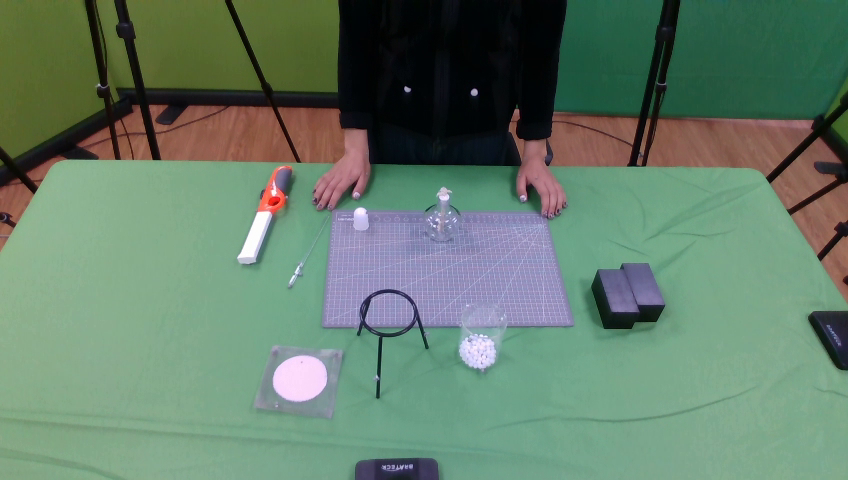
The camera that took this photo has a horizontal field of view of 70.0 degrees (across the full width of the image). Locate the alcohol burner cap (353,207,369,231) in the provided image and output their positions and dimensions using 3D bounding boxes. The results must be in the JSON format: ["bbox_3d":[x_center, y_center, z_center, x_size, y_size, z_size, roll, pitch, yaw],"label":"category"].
[{"bbox_3d":[-0.127,-0.046,1.215,0.034,0.048,0.033,2,47,-2],"label":"alcohol burner cap"}]

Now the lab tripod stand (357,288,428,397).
[{"bbox_3d":[-0.058,0.155,0.967,0.148,0.132,0.147,3,47,-3],"label":"lab tripod stand"}]

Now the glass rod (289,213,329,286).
[{"bbox_3d":[-0.221,0.014,1.179,0.008,0.008,0.199,12,46,8],"label":"glass rod"}]

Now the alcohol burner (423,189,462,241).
[{"bbox_3d":[0.036,-0.055,1.186,0.078,0.120,0.077,2,48,-1],"label":"alcohol burner"}]

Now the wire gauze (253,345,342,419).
[{"bbox_3d":[-0.200,0.224,0.979,0.125,0.011,0.121,7,47,0],"label":"wire gauze"}]

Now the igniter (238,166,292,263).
[{"bbox_3d":[-0.319,-0.060,1.229,0.057,0.025,0.275,-2,45,10],"label":"igniter"}]

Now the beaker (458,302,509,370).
[{"bbox_3d":[0.092,0.159,0.999,0.083,0.101,0.074,35,53,28],"label":"beaker"}]
